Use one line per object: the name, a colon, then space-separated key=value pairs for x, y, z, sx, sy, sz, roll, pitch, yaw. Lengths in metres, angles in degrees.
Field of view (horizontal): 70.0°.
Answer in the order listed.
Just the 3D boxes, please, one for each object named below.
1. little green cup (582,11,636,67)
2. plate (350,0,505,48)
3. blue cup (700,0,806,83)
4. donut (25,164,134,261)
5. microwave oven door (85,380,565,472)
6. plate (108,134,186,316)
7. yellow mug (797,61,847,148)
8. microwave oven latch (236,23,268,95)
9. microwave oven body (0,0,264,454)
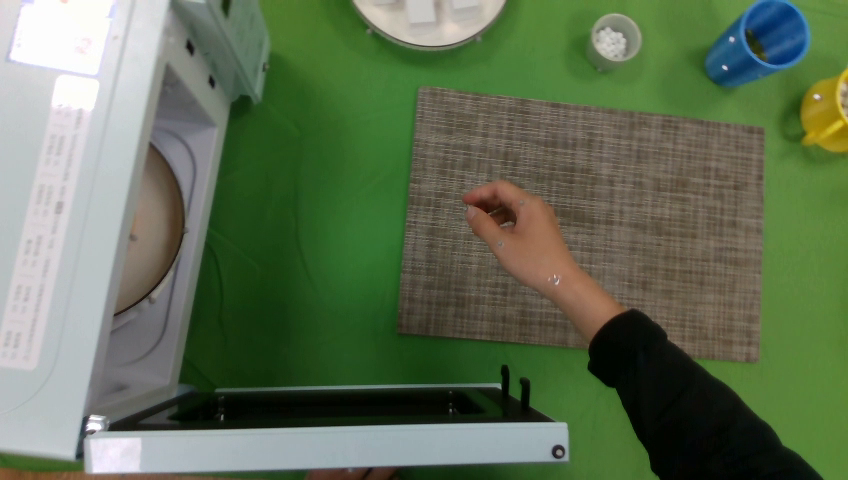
little green cup: x=0.228 y=-0.248 z=0.756 sx=0.061 sy=0.038 sz=0.061 roll=1 pitch=83 yaw=-5
plate: x=0.002 y=-0.330 z=0.741 sx=0.208 sy=0.039 sz=0.207 roll=1 pitch=84 yaw=-6
blue cup: x=0.391 y=-0.237 z=0.739 sx=0.093 sy=0.100 sz=0.092 roll=0 pitch=85 yaw=-6
donut: x=-0.341 y=-0.027 z=0.601 sx=0.099 sy=0.048 sz=0.099 roll=0 pitch=85 yaw=-4
microwave oven door: x=-0.076 y=0.163 z=0.562 sx=0.356 sy=0.244 sz=0.039 roll=0 pitch=83 yaw=-6
plate: x=-0.346 y=-0.021 z=0.611 sx=0.209 sy=0.038 sz=0.208 roll=1 pitch=84 yaw=-6
yellow mug: x=0.527 y=-0.164 z=0.763 sx=0.131 sy=0.064 sz=0.100 roll=-37 pitch=88 yaw=-7
microwave oven latch: x=-0.198 y=-0.208 z=0.689 sx=0.030 sy=0.029 sz=0.079 roll=11 pitch=84 yaw=-5
microwave oven body: x=-0.359 y=-0.067 z=0.561 sx=0.326 sy=0.260 sz=0.440 roll=8 pitch=84 yaw=-5
